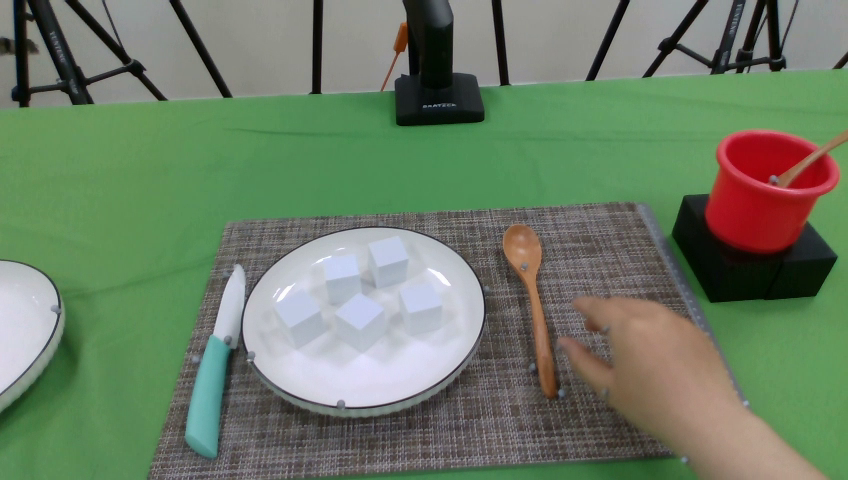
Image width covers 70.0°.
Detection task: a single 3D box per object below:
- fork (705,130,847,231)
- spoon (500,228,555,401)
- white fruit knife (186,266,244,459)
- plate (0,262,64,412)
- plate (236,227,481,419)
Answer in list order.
[{"bbox_3d":[0.342,-0.069,0.525,0.207,0.019,0.028,-39,29,22],"label":"fork"},{"bbox_3d":[0.097,0.059,0.549,0.042,0.022,0.192,12,40,-12],"label":"spoon"},{"bbox_3d":[-0.176,0.093,0.525,0.027,0.016,0.205,18,35,-21],"label":"white fruit knife"},{"bbox_3d":[-0.412,0.100,0.508,0.209,0.038,0.207,0,41,1],"label":"plate"},{"bbox_3d":[-0.054,0.069,0.530,0.208,0.039,0.205,0,42,1],"label":"plate"}]
